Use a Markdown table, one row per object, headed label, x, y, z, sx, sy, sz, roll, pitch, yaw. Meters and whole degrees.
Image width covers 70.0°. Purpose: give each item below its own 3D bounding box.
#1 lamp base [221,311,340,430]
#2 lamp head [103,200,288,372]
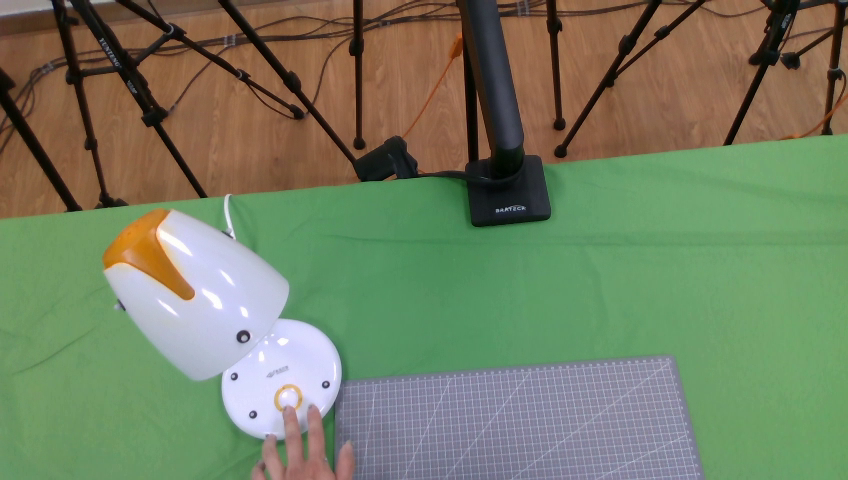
| label | x | y | z | sx | sy | sz | roll | pitch | yaw |
| --- | --- | --- | --- | --- | --- | --- | --- | --- | --- |
| lamp base | -0.206 | 0.130 | 0.751 | 0.160 | 0.182 | 0.177 | -32 | 62 | -11 |
| lamp head | -0.190 | 0.026 | 0.487 | 0.112 | 0.124 | 0.111 | -32 | 25 | 17 |
